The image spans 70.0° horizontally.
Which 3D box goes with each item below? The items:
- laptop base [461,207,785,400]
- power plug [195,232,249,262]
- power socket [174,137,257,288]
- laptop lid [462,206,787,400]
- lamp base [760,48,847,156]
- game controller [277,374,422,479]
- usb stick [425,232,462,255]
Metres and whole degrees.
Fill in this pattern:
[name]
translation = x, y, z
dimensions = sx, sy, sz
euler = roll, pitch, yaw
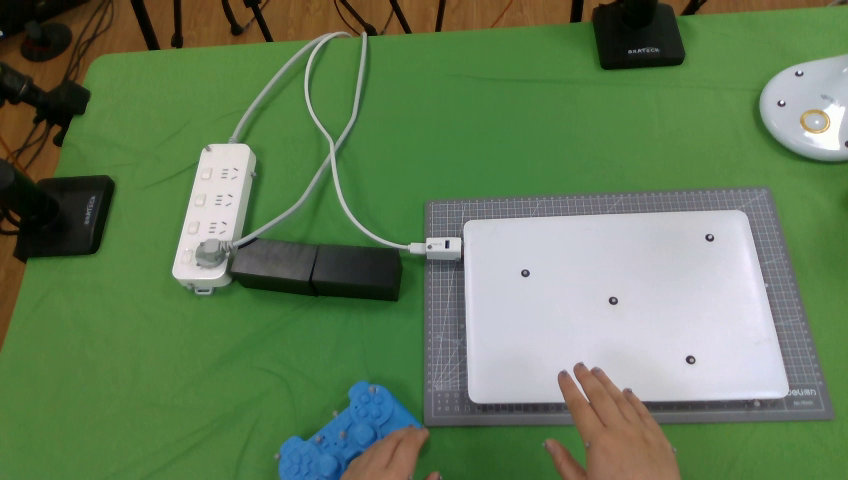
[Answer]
[laptop base]
translation = 0.224, 0.072, 0.728
dimensions = 0.354, 0.023, 0.233
euler = -2, 67, 4
[power plug]
translation = -0.255, 0.014, 0.767
dimensions = 0.072, 0.053, 0.035
euler = 11, 65, 7
[power socket]
translation = -0.279, -0.045, 0.819
dimensions = 0.072, 0.033, 0.225
euler = 1, 64, 4
[laptop lid]
translation = 0.223, 0.069, 0.716
dimensions = 0.356, 0.013, 0.240
euler = 0, 66, 5
[lamp base]
translation = 0.540, -0.225, 0.756
dimensions = 0.159, 0.182, 0.178
euler = 30, 67, 18
[game controller]
translation = -0.088, 0.220, 0.667
dimensions = 0.155, 0.052, 0.096
euler = -37, 64, -13
[usb stick]
translation = 0.031, 0.005, 0.762
dimensions = 0.059, 0.027, 0.021
euler = 2, 60, 1
